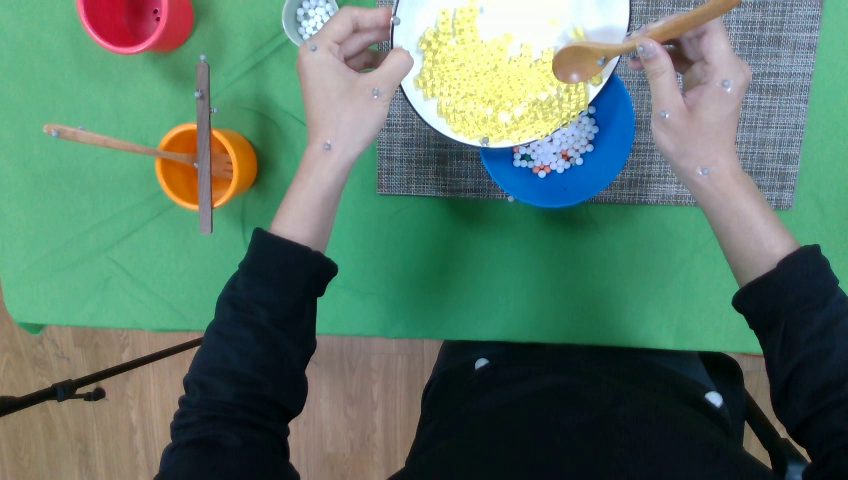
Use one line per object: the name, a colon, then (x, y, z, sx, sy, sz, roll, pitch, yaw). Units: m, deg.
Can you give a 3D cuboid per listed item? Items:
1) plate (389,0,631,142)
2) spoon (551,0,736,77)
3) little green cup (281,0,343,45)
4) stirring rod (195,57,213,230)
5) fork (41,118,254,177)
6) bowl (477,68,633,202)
plate: (0.071, -0.184, 0.520, 0.209, 0.037, 0.211, -7, 130, -8)
spoon: (0.165, -0.160, 0.477, 0.042, 0.192, 0.021, 35, 80, -21)
little green cup: (-0.115, -0.236, 0.639, 0.061, 0.038, 0.062, 1, 103, 7)
stirring rod: (-0.227, -0.097, 0.624, 0.014, 0.006, 0.177, 4, 104, 4)
fork: (-0.278, -0.096, 0.633, 0.209, 0.018, 0.028, 9, 112, -40)
bowl: (0.128, -0.118, 0.616, 0.151, 0.076, 0.152, 1, 104, 6)
